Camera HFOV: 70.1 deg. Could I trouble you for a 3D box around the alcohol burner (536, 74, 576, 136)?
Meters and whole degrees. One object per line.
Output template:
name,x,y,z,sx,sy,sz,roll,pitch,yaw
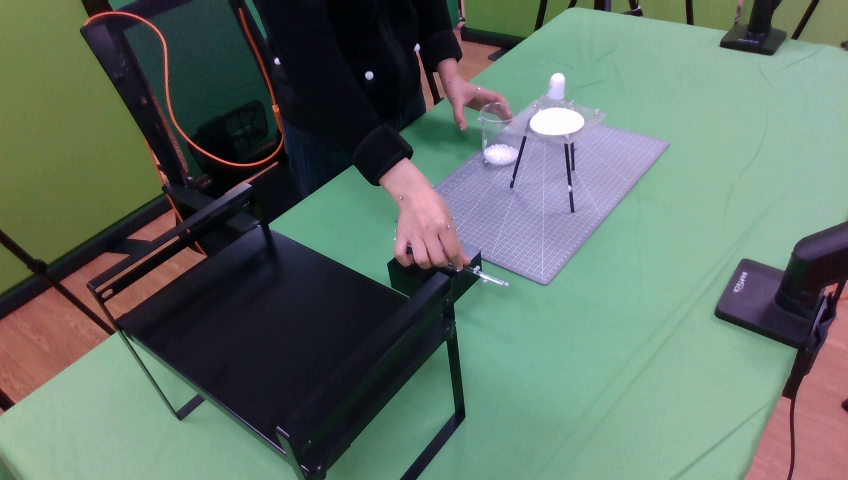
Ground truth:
alcohol burner,0.256,-0.265,1.173,0.078,0.119,0.077,-6,40,5

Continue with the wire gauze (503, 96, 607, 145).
wire gauze,0.211,-0.192,0.975,0.120,0.011,0.125,24,49,32

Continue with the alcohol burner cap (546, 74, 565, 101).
alcohol burner cap,0.251,-0.292,1.151,0.034,0.048,0.033,0,41,1

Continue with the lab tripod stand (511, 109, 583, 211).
lab tripod stand,0.220,-0.138,1.014,0.148,0.132,0.147,-3,41,3

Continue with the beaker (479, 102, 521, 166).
beaker,0.143,-0.196,1.121,0.074,0.101,0.084,3,42,12

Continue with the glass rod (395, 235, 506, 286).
glass rod,0.033,0.028,0.875,0.198,0.008,0.008,23,49,32
